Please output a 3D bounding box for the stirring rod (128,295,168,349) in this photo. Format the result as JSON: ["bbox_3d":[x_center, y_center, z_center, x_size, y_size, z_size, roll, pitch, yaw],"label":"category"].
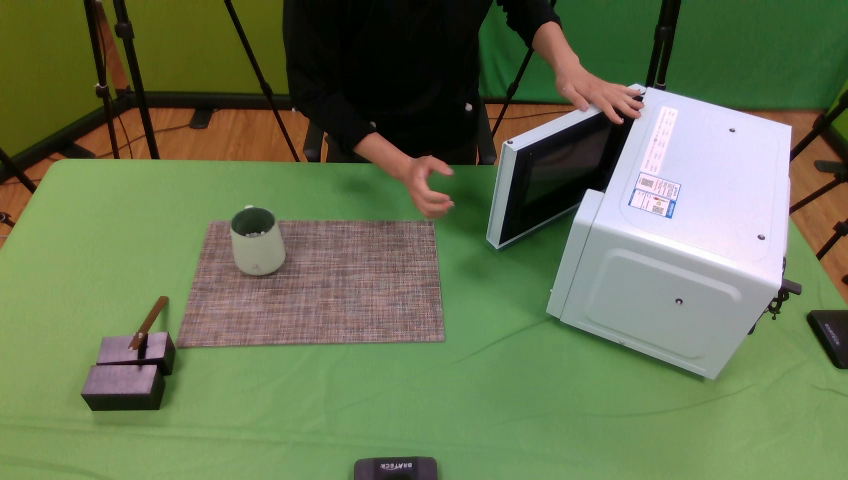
[{"bbox_3d":[-0.452,0.131,0.996,0.014,0.006,0.175,9,21,-10],"label":"stirring rod"}]

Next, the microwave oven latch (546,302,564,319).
[{"bbox_3d":[0.242,0.102,1.081,0.030,0.029,0.079,22,48,17],"label":"microwave oven latch"}]

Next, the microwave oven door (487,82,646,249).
[{"bbox_3d":[0.280,-0.147,1.181,0.356,0.245,0.039,-27,52,-26],"label":"microwave oven door"}]

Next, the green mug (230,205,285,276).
[{"bbox_3d":[-0.311,-0.008,1.118,0.092,0.105,0.124,-14,49,-16],"label":"green mug"}]

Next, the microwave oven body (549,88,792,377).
[{"bbox_3d":[0.456,-0.028,1.088,0.325,0.261,0.440,20,47,16],"label":"microwave oven body"}]
